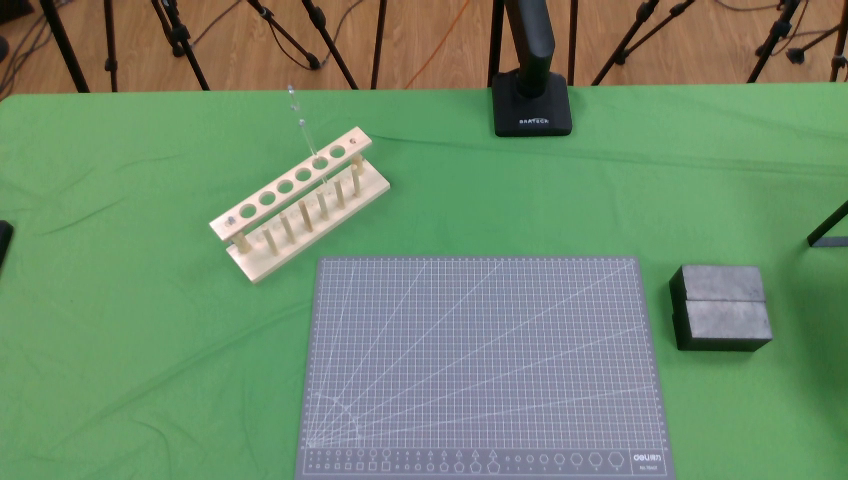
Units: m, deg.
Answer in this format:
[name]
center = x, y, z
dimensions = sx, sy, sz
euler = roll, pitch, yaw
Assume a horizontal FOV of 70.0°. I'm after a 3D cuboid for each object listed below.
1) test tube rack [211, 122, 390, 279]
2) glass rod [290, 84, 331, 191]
[test tube rack]
center = -0.164, -0.056, 0.847
dimensions = 0.242, 0.086, 0.066
euler = -37, 68, -17
[glass rod]
center = -0.149, -0.130, 0.810
dimensions = 0.008, 0.201, 0.008
euler = -3, 56, 5
